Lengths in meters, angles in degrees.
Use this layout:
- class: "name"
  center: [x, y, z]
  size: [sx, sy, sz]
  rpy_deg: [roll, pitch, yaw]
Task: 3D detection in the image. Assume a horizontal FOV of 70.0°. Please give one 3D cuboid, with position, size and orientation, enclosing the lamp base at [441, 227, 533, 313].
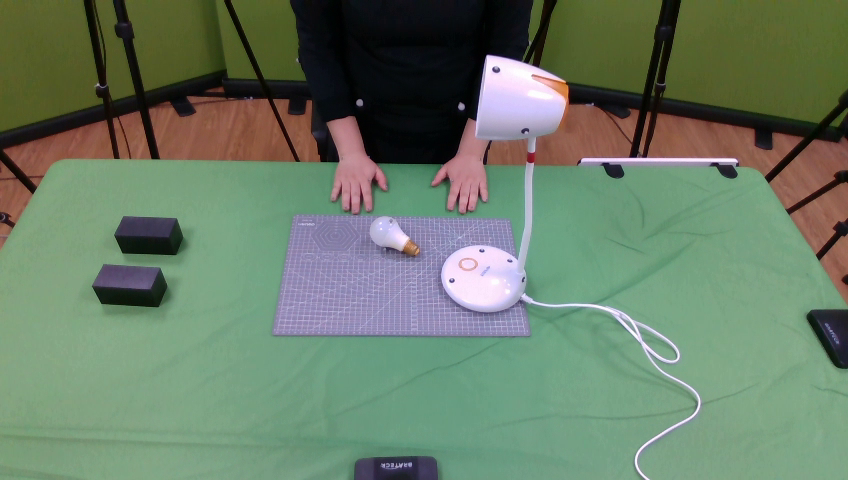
- class: "lamp base"
  center: [0.126, 0.021, 1.072]
  size: [0.179, 0.181, 0.160]
  rpy_deg: [23, 49, 14]

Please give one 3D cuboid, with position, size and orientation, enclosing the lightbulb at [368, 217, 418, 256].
- class: "lightbulb"
  center: [-0.058, -0.002, 1.174]
  size: [0.107, 0.060, 0.059]
  rpy_deg: [32, 50, 4]

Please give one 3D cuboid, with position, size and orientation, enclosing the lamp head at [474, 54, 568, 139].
- class: "lamp head"
  center: [0.130, -0.184, 0.818]
  size: [0.123, 0.113, 0.112]
  rpy_deg: [10, 45, -3]
